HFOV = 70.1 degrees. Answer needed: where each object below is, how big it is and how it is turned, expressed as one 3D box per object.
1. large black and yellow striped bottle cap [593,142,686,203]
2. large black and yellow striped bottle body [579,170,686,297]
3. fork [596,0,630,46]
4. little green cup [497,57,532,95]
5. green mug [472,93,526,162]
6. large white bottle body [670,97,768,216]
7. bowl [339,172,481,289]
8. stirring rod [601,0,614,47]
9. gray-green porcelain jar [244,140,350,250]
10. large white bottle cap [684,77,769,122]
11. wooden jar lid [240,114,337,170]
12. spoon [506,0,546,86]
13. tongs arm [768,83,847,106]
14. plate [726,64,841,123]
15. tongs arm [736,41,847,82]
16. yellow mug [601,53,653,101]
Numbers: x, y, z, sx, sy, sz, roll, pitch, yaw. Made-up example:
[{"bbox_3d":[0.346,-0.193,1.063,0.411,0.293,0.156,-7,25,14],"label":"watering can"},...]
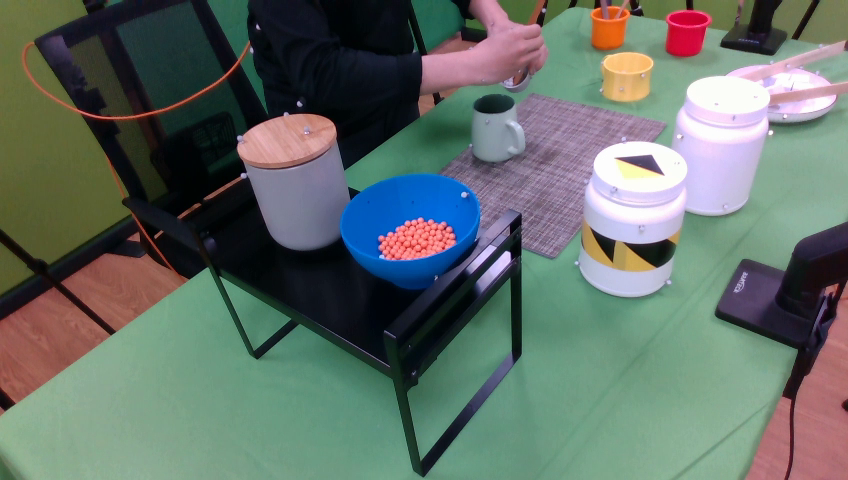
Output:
[{"bbox_3d":[0.280,-0.090,0.786,0.115,0.019,0.114,-5,41,5],"label":"large black and yellow striped bottle cap"},{"bbox_3d":[0.287,-0.027,0.841,0.131,0.185,0.130,-4,40,4],"label":"large black and yellow striped bottle body"},{"bbox_3d":[0.481,-0.556,1.453,0.028,0.019,0.207,40,103,38],"label":"fork"},{"bbox_3d":[0.169,-0.301,1.118,0.061,0.039,0.061,-12,65,28],"label":"little green cup"},{"bbox_3d":[0.144,-0.201,1.122,0.093,0.105,0.124,-29,45,-23],"label":"green mug"},{"bbox_3d":[0.458,-0.146,0.952,0.130,0.185,0.130,-4,40,4],"label":"large white bottle body"},{"bbox_3d":[-0.011,0.001,0.660,0.151,0.077,0.150,-5,41,5],"label":"bowl"},{"bbox_3d":[0.439,-0.552,1.463,0.014,0.006,0.175,-7,83,3],"label":"stirring rod"},{"bbox_3d":[-0.144,-0.060,0.714,0.106,0.127,0.105,-4,41,4],"label":"gray-green porcelain jar"},{"bbox_3d":[0.448,-0.210,0.898,0.115,0.018,0.114,-4,40,4],"label":"large white bottle cap"},{"bbox_3d":[-0.149,-0.106,0.673,0.108,0.021,0.108,-6,39,5],"label":"wooden jar lid"},{"bbox_3d":[0.174,-0.339,1.035,0.022,0.194,0.041,-8,62,-12],"label":"spoon"},{"bbox_3d":[0.738,-0.281,1.134,0.388,0.028,0.028,-9,47,-5],"label":"tongs arm"},{"bbox_3d":[0.695,-0.282,1.189,0.207,0.039,0.206,-4,40,4],"label":"plate"},{"bbox_3d":[0.712,-0.332,1.194,0.386,0.026,0.050,-19,45,-16],"label":"tongs arm"},{"bbox_3d":[0.423,-0.354,1.292,0.100,0.064,0.129,-23,41,-16],"label":"yellow mug"}]
